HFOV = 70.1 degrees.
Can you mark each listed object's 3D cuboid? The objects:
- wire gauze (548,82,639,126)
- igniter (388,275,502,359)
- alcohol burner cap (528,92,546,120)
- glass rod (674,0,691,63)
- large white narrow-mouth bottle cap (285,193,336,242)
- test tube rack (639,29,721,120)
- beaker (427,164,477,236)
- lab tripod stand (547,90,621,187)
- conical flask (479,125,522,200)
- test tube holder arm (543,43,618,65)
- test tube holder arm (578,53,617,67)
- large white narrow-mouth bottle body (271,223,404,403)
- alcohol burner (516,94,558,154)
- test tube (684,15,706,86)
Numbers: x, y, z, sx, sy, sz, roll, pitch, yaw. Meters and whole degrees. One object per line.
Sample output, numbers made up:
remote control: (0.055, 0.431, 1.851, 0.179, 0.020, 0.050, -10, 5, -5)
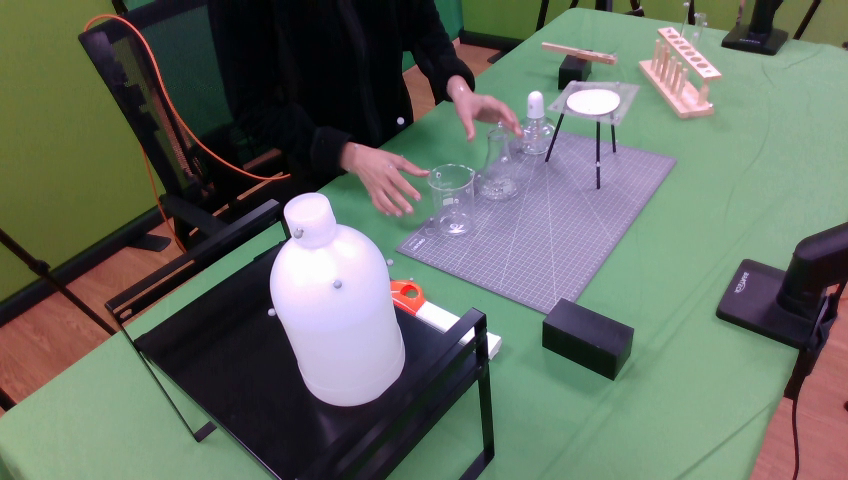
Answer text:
wire gauze: (0.286, -0.235, 1.019, 0.124, 0.011, 0.121, 17, 46, 28)
igniter: (-0.009, 0.094, 0.870, 0.274, 0.025, 0.057, 25, 61, 33)
alcohol burner cap: (0.206, -0.249, 1.111, 0.034, 0.048, 0.033, -6, 35, 5)
glass rod: (0.537, -0.437, 1.257, 0.008, 0.200, 0.008, 0, 39, 1)
large white narrow-mouth bottle cap: (-0.087, -0.018, 0.467, 0.038, 0.024, 0.037, -4, 40, 4)
test tube rack: (0.527, -0.351, 1.262, 0.067, 0.085, 0.241, -8, 40, 1)
beaker: (0.051, -0.064, 0.986, 0.084, 0.101, 0.073, -23, 43, -18)
lab tripod stand: (0.289, -0.185, 1.062, 0.148, 0.132, 0.147, -6, 41, 5)
conical flask: (0.130, -0.135, 1.038, 0.075, 0.122, 0.075, -4, 40, 4)
test tube holder arm: (0.344, -0.413, 1.340, 0.177, 0.015, 0.013, 25, 51, 31)
test tube holder arm: (0.376, -0.393, 1.314, 0.087, 0.015, 0.010, 26, 51, 32)
large white narrow-mouth bottle body: (-0.077, 0.048, 0.525, 0.102, 0.195, 0.101, -5, 41, 4)
alcohol burner: (0.212, -0.221, 1.134, 0.078, 0.119, 0.077, -5, 43, 5)
test tube: (0.541, -0.378, 1.215, 0.017, 0.151, 0.017, -2, 44, 3)
